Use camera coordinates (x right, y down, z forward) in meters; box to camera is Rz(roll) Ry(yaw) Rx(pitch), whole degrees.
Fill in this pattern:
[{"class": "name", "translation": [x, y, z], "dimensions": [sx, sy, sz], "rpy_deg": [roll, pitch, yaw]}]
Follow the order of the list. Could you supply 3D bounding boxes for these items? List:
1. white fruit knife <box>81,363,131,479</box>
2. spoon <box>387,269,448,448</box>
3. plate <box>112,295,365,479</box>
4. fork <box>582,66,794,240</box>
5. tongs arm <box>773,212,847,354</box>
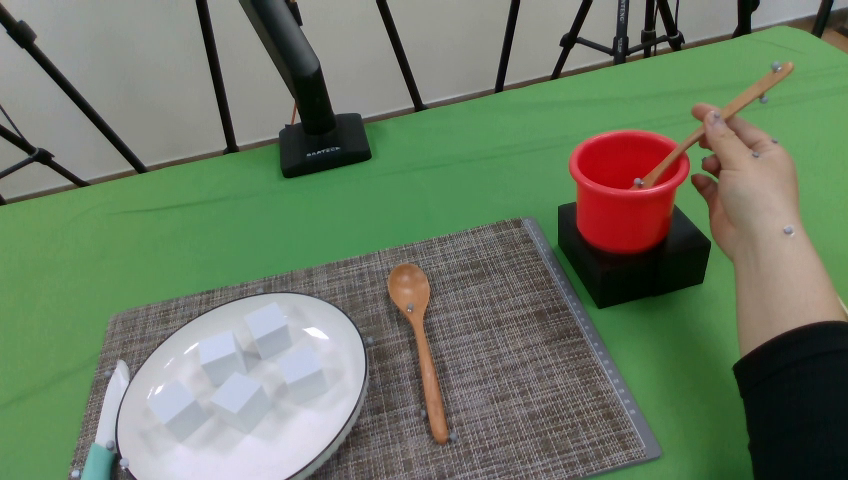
[{"class": "white fruit knife", "translation": [-0.265, 0.179, 0.501], "dimensions": [0.027, 0.016, 0.205], "rpy_deg": [9, 33, -23]}, {"class": "spoon", "translation": [-0.004, 0.096, 0.537], "dimensions": [0.042, 0.022, 0.191], "rpy_deg": [2, 38, -14]}, {"class": "plate", "translation": [-0.150, 0.134, 0.512], "dimensions": [0.207, 0.039, 0.205], "rpy_deg": [-6, 40, 5]}, {"class": "fork", "translation": [0.217, -0.069, 0.512], "dimensions": [0.207, 0.019, 0.028], "rpy_deg": [-46, 32, 27]}, {"class": "tongs arm", "translation": [0.351, 0.106, 0.451], "dimensions": [0.028, 0.028, 0.383], "rpy_deg": [-4, 41, 3]}]
